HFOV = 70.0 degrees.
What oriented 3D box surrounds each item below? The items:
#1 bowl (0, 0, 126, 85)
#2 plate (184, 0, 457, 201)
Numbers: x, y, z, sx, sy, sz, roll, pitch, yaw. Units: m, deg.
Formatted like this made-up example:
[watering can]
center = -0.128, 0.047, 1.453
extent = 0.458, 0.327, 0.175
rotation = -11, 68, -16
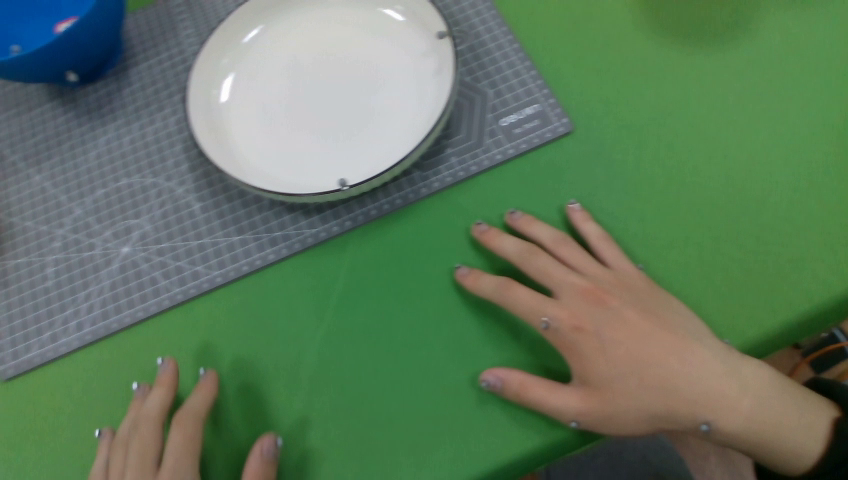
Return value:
[bowl]
center = -0.309, -0.184, 0.505
extent = 0.151, 0.077, 0.150
rotation = -3, 66, 8
[plate]
center = -0.077, -0.118, 0.463
extent = 0.209, 0.038, 0.207
rotation = -3, 67, 7
